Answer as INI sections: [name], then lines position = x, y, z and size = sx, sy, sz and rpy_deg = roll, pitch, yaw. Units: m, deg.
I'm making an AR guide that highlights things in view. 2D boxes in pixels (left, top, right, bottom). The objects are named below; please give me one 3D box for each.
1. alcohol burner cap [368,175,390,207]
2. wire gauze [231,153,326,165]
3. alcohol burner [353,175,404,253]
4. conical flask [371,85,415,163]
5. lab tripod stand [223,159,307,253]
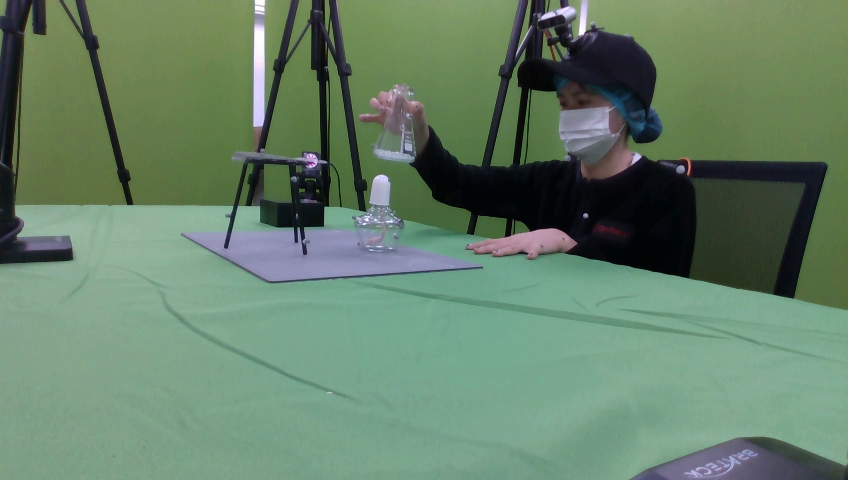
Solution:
[alcohol burner cap]
position = -0.067, -0.075, 0.923
size = 0.034, 0.048, 0.034
rpy_deg = 8, 11, -1
[wire gauze]
position = -0.215, -0.118, 0.881
size = 0.125, 0.011, 0.121
rpy_deg = 1, 7, -19
[alcohol burner]
position = -0.069, -0.040, 0.926
size = 0.078, 0.119, 0.078
rpy_deg = 1, 9, 0
[conical flask]
position = -0.043, -0.193, 1.004
size = 0.075, 0.122, 0.075
rpy_deg = 9, 9, -1
[lab tripod stand]
position = -0.220, -0.053, 0.896
size = 0.148, 0.131, 0.148
rpy_deg = 1, 6, 0
